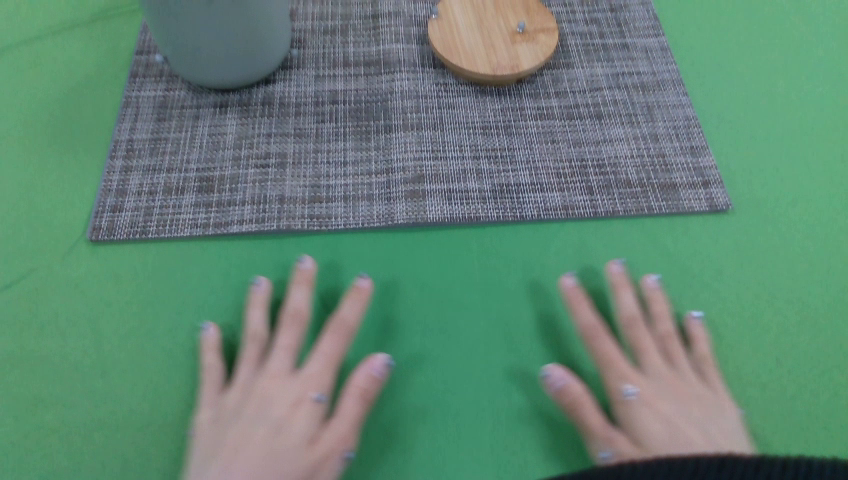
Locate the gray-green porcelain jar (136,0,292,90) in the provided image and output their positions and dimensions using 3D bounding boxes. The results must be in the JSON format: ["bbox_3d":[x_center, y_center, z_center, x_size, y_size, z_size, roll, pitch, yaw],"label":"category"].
[{"bbox_3d":[-0.158,-0.185,0.449,0.106,0.127,0.105,1,58,-1],"label":"gray-green porcelain jar"}]

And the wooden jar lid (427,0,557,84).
[{"bbox_3d":[0.056,-0.170,0.509,0.108,0.021,0.107,0,58,0],"label":"wooden jar lid"}]
